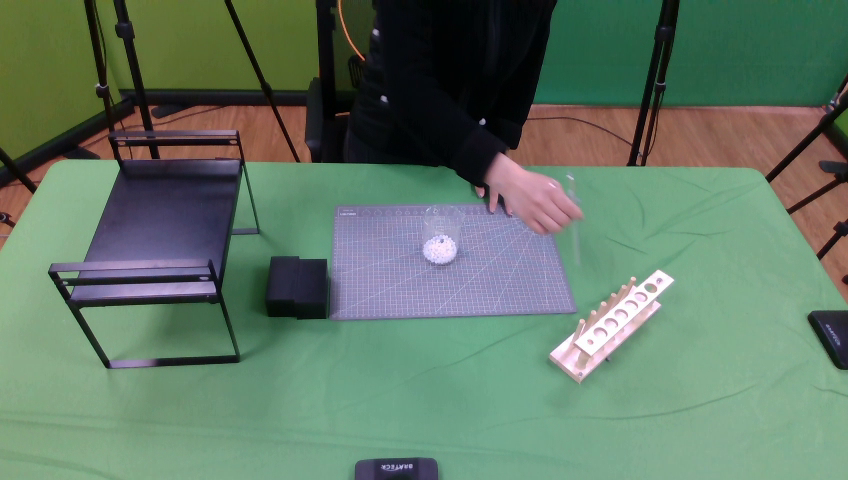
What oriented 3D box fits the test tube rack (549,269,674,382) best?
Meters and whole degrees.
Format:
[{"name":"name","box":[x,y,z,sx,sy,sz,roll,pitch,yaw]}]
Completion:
[{"name":"test tube rack","box":[0.326,0.134,1.047,0.242,0.085,0.066,-32,56,-30]}]

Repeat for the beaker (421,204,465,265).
[{"name":"beaker","box":[0.034,-0.008,1.151,0.084,0.101,0.073,-9,48,-13]}]

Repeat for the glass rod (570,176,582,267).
[{"name":"glass rod","box":[0.232,-0.023,0.922,0.008,0.201,0.008,-9,46,10]}]
